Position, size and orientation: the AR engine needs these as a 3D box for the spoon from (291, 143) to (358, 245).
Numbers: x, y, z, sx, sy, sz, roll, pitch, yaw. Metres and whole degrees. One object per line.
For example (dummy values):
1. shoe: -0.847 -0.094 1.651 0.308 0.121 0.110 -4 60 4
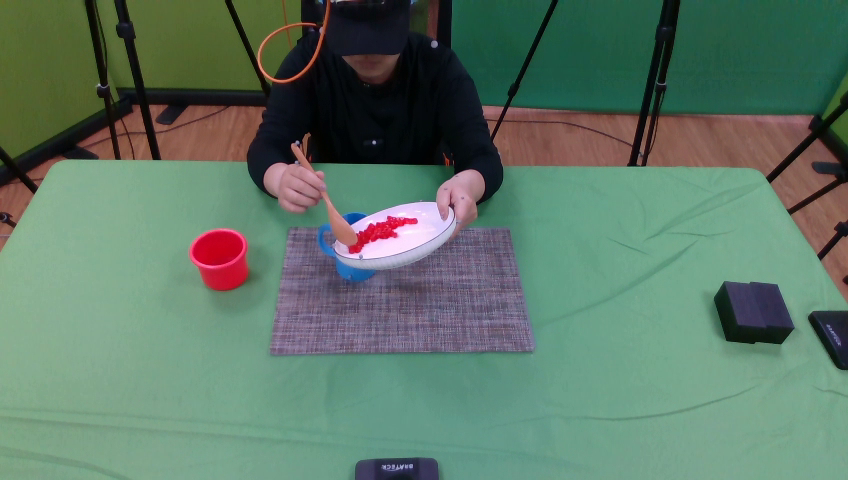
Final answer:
1. spoon: -0.166 -0.075 0.994 0.021 0.041 0.193 -26 86 -53

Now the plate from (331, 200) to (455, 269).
1. plate: -0.047 -0.005 0.993 0.207 0.039 0.206 -13 24 6

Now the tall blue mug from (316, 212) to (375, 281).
1. tall blue mug: -0.141 0.014 1.109 0.107 0.108 0.077 -5 47 -9
